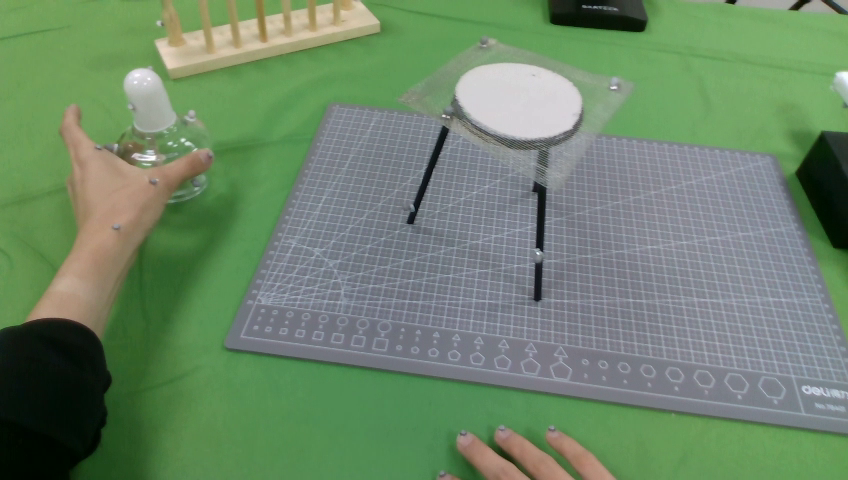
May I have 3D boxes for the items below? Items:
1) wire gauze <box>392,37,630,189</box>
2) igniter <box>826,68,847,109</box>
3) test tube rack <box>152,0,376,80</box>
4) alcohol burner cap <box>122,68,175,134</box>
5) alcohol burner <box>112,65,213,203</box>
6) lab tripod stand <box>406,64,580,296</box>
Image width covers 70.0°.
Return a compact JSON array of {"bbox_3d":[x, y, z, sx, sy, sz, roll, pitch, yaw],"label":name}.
[{"bbox_3d":[0.061,-0.096,0.409,0.124,0.011,0.121,30,53,20],"label":"wire gauze"},{"bbox_3d":[0.406,-0.067,0.508,0.057,0.025,0.274,3,45,4],"label":"igniter"},{"bbox_3d":[-0.176,-0.258,0.668,0.243,0.086,0.066,-21,53,-21],"label":"test tube rack"},{"bbox_3d":[-0.216,-0.110,0.469,0.034,0.048,0.033,3,49,-3],"label":"alcohol burner cap"},{"bbox_3d":[-0.216,-0.088,0.492,0.078,0.120,0.077,2,49,-1],"label":"alcohol burner"},{"bbox_3d":[0.062,-0.050,0.458,0.148,0.132,0.147,3,48,-3],"label":"lab tripod stand"}]
